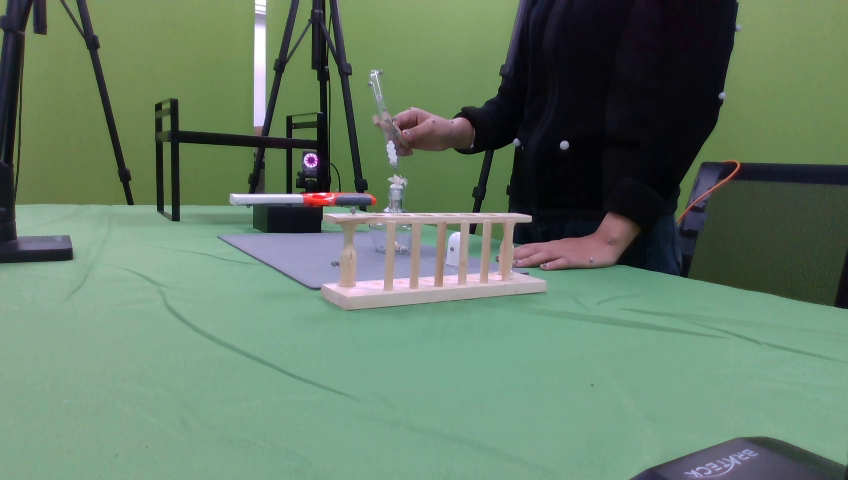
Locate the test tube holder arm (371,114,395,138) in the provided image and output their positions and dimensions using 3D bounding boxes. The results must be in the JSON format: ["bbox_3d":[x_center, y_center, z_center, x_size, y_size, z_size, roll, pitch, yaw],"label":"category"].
[{"bbox_3d":[-0.059,-0.174,0.931,0.010,0.015,0.088,-19,-10,15],"label":"test tube holder arm"}]

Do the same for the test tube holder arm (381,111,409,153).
[{"bbox_3d":[-0.044,-0.171,0.974,0.013,0.015,0.179,-17,-10,7],"label":"test tube holder arm"}]

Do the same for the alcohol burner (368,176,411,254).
[{"bbox_3d":[-0.045,-0.038,0.912,0.078,0.119,0.078,4,7,0],"label":"alcohol burner"}]

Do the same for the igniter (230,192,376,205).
[{"bbox_3d":[-0.226,-0.079,1.161,0.278,0.025,0.057,-2,15,-28],"label":"igniter"}]

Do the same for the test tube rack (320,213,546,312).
[{"bbox_3d":[0.018,0.017,0.638,0.244,0.085,0.066,-2,9,-31],"label":"test tube rack"}]

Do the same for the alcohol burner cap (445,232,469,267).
[{"bbox_3d":[0.045,0.013,0.829,0.034,0.048,0.034,2,8,0],"label":"alcohol burner cap"}]

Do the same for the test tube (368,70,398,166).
[{"bbox_3d":[-0.062,-0.184,0.910,0.017,0.150,0.017,-13,-7,-1],"label":"test tube"}]
